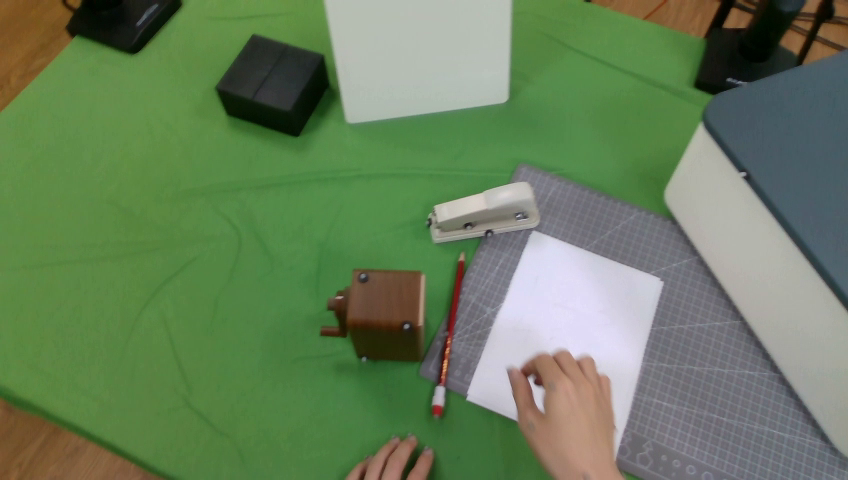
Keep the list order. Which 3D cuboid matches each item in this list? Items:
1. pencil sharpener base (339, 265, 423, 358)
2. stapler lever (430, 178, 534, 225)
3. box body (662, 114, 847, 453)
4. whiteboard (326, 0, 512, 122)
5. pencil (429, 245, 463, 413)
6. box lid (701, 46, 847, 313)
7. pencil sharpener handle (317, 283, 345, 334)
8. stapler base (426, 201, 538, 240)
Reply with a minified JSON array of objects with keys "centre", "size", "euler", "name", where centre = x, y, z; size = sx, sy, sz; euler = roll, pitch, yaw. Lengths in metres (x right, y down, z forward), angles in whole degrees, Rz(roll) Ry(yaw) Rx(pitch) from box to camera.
[{"centre":[-0.040,0.073,0.603],"size":[0.077,0.108,0.061],"euler":[2,62,1],"name":"pencil sharpener base"},{"centre":[0.066,-0.044,0.683],"size":[0.118,0.040,0.026],"euler":[-10,59,-3],"name":"stapler lever"},{"centre":[0.452,0.004,0.617],"size":[0.254,0.161,0.360],"euler":[-20,64,-12],"name":"box body"},{"centre":[-0.014,-0.326,0.735],"size":[0.217,0.308,0.142],"euler":[-9,44,-5],"name":"whiteboard"},{"centre":[0.026,0.089,0.649],"size":[0.012,0.012,0.192],"euler":[10,62,4],"name":"pencil"},{"centre":[0.453,-0.032,0.552],"size":[0.263,0.015,0.368],"euler":[-20,65,-12],"name":"box lid"},{"centre":[-0.091,0.069,0.590],"size":[0.030,0.068,0.035],"euler":[2,46,1],"name":"pencil sharpener handle"},{"centre":[0.069,-0.032,0.705],"size":[0.130,0.024,0.041],"euler":[-10,59,-2],"name":"stapler base"}]
